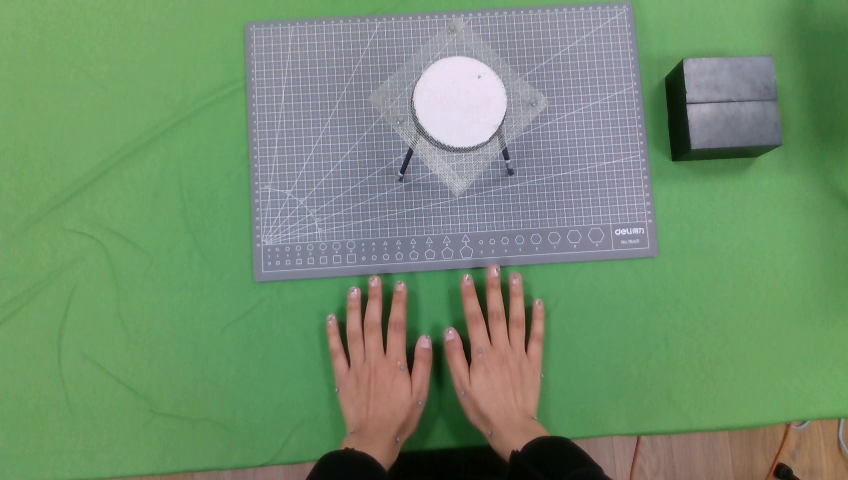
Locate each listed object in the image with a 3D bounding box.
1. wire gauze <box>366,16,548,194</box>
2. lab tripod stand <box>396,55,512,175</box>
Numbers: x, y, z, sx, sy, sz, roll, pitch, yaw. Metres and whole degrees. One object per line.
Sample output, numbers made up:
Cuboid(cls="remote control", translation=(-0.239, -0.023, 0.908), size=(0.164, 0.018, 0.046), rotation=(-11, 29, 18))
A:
Cuboid(cls="wire gauze", translation=(0.030, -0.127, 0.555), size=(0.121, 0.011, 0.125), rotation=(-43, 87, -5))
Cuboid(cls="lab tripod stand", translation=(0.034, -0.120, 0.622), size=(0.148, 0.132, 0.148), rotation=(0, 82, -3))
